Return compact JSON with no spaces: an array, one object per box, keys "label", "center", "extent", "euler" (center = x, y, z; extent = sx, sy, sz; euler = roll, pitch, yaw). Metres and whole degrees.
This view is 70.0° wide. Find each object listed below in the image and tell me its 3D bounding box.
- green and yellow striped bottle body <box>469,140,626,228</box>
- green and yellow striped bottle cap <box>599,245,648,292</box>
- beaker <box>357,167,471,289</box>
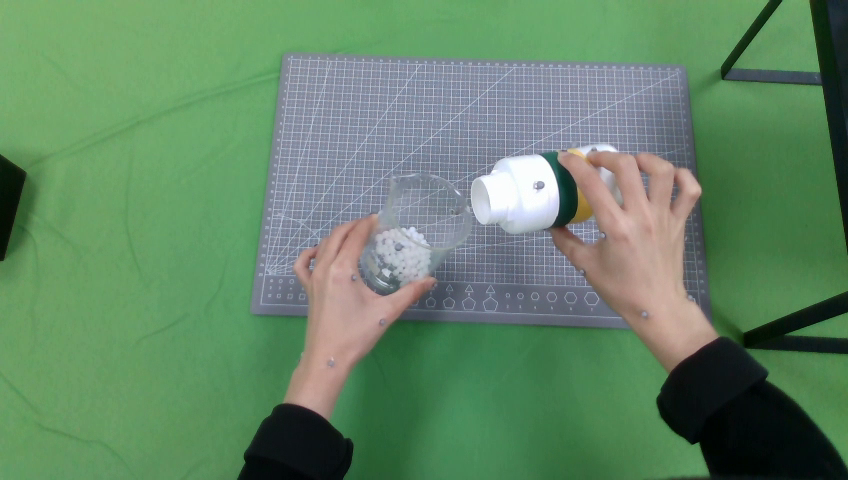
[{"label":"green and yellow striped bottle body","center":[0.098,-0.045,0.496],"extent":[0.120,0.063,0.063],"euler":[-10,71,-18]},{"label":"green and yellow striped bottle cap","center":[0.197,0.028,0.597],"extent":[0.045,0.020,0.045],"euler":[0,70,0]},{"label":"beaker","center":[-0.016,-0.008,0.534],"extent":[0.084,0.100,0.074],"euler":[44,54,5]}]
